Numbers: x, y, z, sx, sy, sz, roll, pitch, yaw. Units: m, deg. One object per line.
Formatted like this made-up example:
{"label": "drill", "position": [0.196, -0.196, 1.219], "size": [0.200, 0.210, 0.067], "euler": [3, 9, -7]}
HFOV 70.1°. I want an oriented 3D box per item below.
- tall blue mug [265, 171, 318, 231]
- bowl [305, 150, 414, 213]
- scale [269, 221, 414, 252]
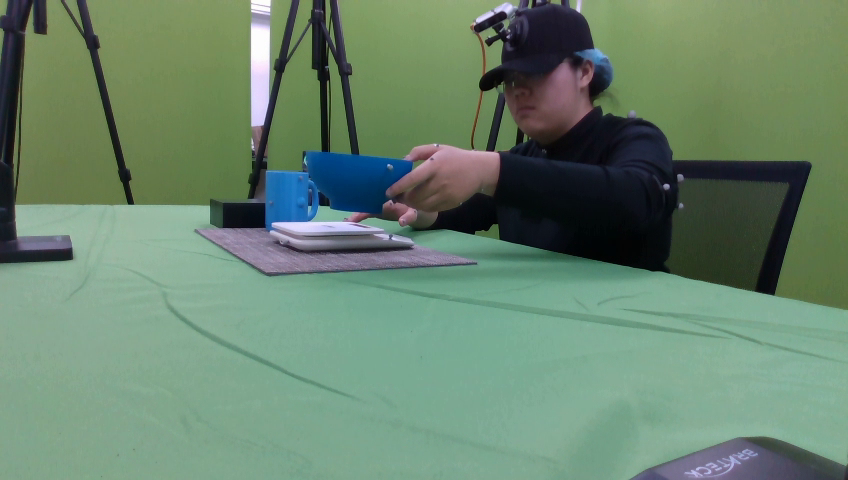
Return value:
{"label": "tall blue mug", "position": [-0.248, -0.073, 1.121], "size": [0.078, 0.108, 0.107], "euler": [3, 8, 8]}
{"label": "bowl", "position": [-0.092, -0.079, 0.843], "size": [0.151, 0.077, 0.151], "euler": [5, 6, 0]}
{"label": "scale", "position": [-0.130, -0.008, 0.959], "size": [0.202, 0.031, 0.148], "euler": [-1, 9, -32]}
